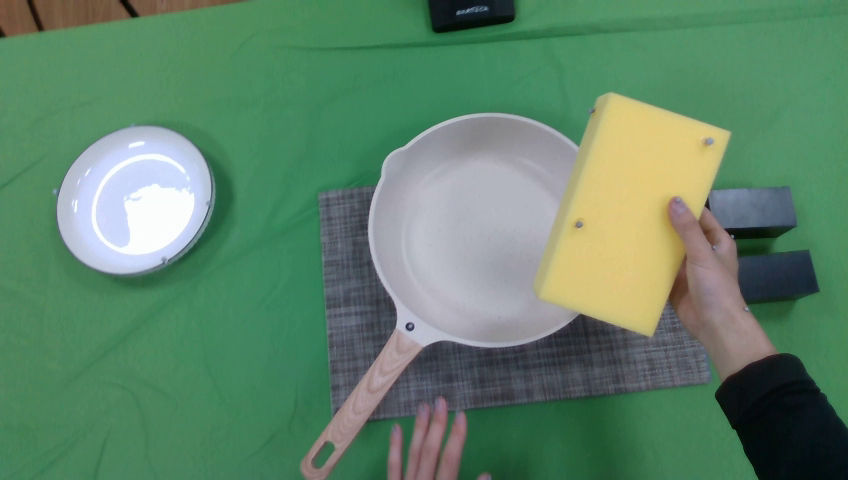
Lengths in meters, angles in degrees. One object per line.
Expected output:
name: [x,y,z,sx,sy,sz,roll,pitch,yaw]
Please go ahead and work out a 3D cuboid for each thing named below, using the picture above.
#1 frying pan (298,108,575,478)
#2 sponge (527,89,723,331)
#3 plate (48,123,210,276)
frying pan: [0.013,0.060,0.709,0.305,0.103,0.486,34,71,12]
sponge: [0.192,-0.029,0.599,0.118,0.061,0.207,17,99,0]
plate: [-0.381,-0.052,0.796,0.207,0.039,0.206,-1,75,2]
